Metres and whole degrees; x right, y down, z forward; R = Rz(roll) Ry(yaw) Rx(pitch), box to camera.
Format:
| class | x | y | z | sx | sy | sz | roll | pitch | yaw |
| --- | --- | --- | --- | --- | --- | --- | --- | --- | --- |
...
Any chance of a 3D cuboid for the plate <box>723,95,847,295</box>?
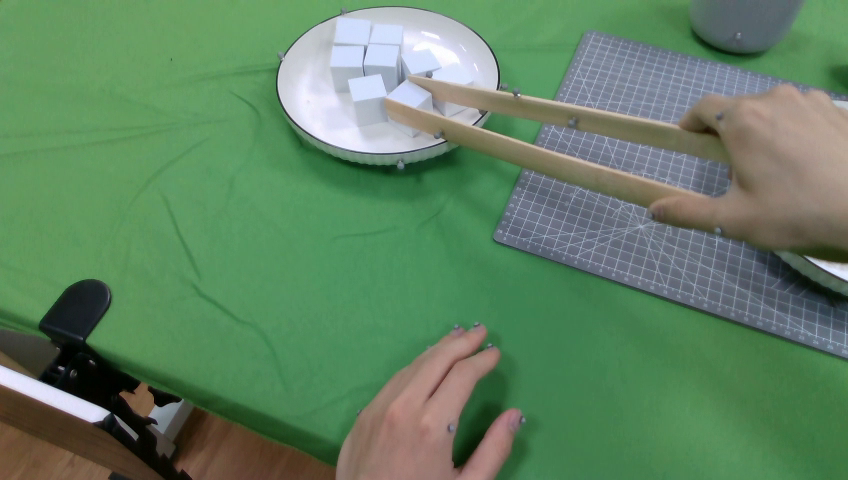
| class | x | y | z | sx | sy | sz | roll | pitch | yaw |
| --- | --- | --- | --- | --- | --- | --- | --- | --- | --- |
| plate | 0.351 | -0.035 | 0.498 | 0.209 | 0.038 | 0.207 | 0 | 55 | 0 |

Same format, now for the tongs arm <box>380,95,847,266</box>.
| class | x | y | z | sx | sy | sz | roll | pitch | yaw |
| --- | --- | --- | --- | --- | --- | --- | --- | --- | --- |
| tongs arm | 0.108 | -0.056 | 0.433 | 0.384 | 0.028 | 0.028 | 24 | 59 | 35 |

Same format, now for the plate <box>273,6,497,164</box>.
| class | x | y | z | sx | sy | sz | roll | pitch | yaw |
| --- | --- | --- | --- | --- | --- | --- | --- | --- | --- |
| plate | -0.036 | -0.147 | 0.578 | 0.208 | 0.039 | 0.205 | 0 | 55 | 0 |

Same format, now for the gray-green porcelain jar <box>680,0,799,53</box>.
| class | x | y | z | sx | sy | sz | roll | pitch | yaw |
| --- | --- | --- | --- | --- | --- | --- | --- | --- | --- |
| gray-green porcelain jar | 0.325 | -0.263 | 0.606 | 0.106 | 0.127 | 0.105 | 0 | 55 | 0 |

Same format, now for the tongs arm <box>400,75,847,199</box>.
| class | x | y | z | sx | sy | sz | roll | pitch | yaw |
| --- | --- | --- | --- | --- | --- | --- | --- | --- | --- |
| tongs arm | 0.122 | -0.072 | 0.441 | 0.381 | 0.027 | 0.050 | 20 | 60 | 33 |
